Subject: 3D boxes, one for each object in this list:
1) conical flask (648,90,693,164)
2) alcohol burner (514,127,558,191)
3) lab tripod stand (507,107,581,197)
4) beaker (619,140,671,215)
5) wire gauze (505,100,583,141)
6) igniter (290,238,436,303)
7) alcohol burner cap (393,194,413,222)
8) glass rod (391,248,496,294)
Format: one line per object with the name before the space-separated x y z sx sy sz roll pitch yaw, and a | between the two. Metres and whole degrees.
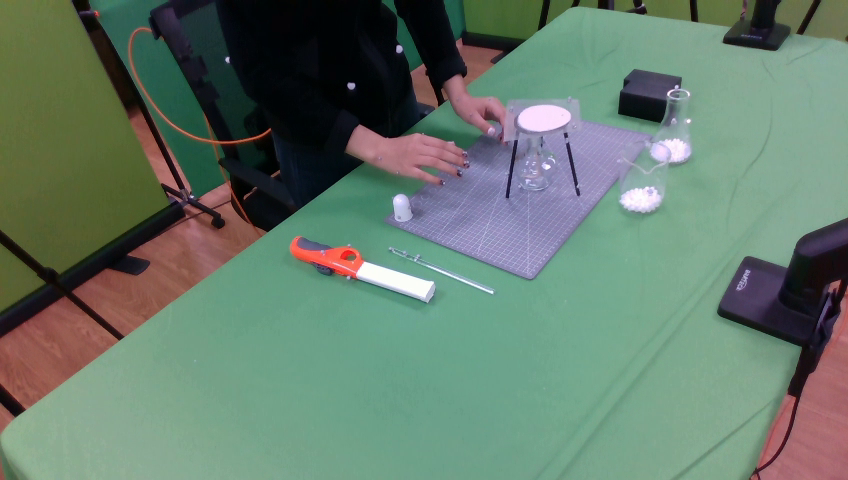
conical flask | 0.437 -0.199 1.057 0.075 0.122 0.075 -5 40 5
alcohol burner | 0.192 -0.145 1.043 0.078 0.119 0.077 -5 42 5
lab tripod stand | 0.201 -0.151 1.033 0.148 0.132 0.147 -7 39 6
beaker | 0.352 -0.096 0.971 0.074 0.101 0.084 1 42 13
wire gauze | 0.194 -0.200 0.987 0.121 0.011 0.124 -1 39 11
igniter | -0.106 0.044 0.949 0.274 0.025 0.057 16 57 27
alcohol burner cap | -0.038 -0.057 1.038 0.034 0.048 0.033 -6 40 5
glass rod | 0.026 0.046 0.937 0.198 0.008 0.008 22 50 31
